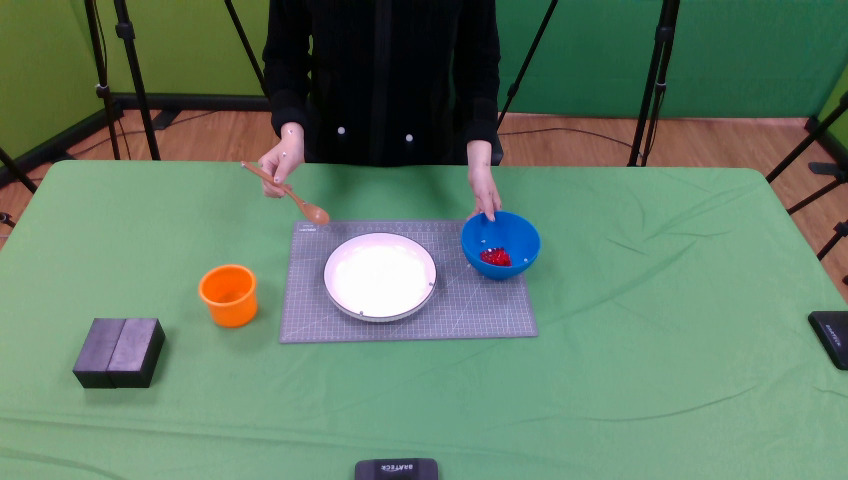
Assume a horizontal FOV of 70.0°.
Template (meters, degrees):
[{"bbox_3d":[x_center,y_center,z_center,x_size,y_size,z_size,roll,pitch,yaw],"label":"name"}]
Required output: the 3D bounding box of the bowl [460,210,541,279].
[{"bbox_3d":[0.140,0.021,1.145,0.151,0.077,0.150,2,46,-2],"label":"bowl"}]

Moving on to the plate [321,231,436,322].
[{"bbox_3d":[-0.083,0.070,1.109,0.209,0.038,0.208,3,46,-3],"label":"plate"}]

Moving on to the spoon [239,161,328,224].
[{"bbox_3d":[-0.248,-0.086,1.083,0.021,0.195,0.041,-24,43,29],"label":"spoon"}]
